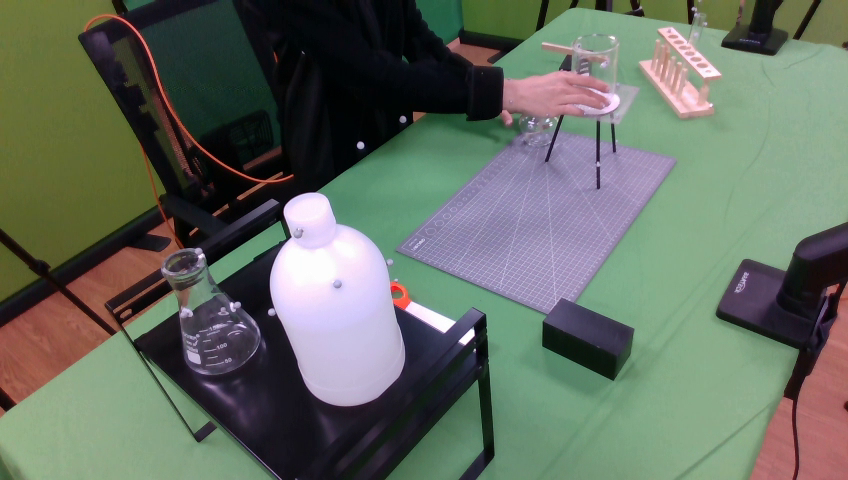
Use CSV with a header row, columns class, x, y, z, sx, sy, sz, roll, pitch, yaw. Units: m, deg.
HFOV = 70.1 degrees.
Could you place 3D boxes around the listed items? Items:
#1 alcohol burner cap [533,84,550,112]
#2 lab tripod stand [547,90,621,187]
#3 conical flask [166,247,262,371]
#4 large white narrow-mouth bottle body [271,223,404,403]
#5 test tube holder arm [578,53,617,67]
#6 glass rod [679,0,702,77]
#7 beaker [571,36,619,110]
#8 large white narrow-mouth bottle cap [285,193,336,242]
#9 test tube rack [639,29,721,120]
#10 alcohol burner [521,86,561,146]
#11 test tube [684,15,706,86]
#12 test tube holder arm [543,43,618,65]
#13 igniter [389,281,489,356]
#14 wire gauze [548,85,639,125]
class,x,y,z,sx,sy,sz,roll,pitch,yaw
alcohol burner cap,0.218,-0.268,1.132,0.034,0.048,0.033,-9,36,7
lab tripod stand,0.289,-0.184,1.062,0.148,0.132,0.147,-6,41,6
conical flask,-0.208,0.064,0.584,0.075,0.122,0.075,-5,40,4
large white narrow-mouth bottle body,-0.077,0.048,0.525,0.102,0.195,0.101,-5,40,5
test tube holder arm,0.376,-0.393,1.314,0.087,0.015,0.010,26,51,32
glass rod,0.543,-0.417,1.233,0.008,0.200,0.008,1,40,0
beaker,0.281,-0.273,0.992,0.084,0.101,0.073,-24,42,-16
large white narrow-mouth bottle cap,-0.087,-0.018,0.467,0.038,0.024,0.037,-5,40,4
test tube rack,0.527,-0.351,1.262,0.067,0.085,0.241,-8,40,1
alcohol burner,0.224,-0.242,1.155,0.078,0.119,0.077,-5,43,5
test tube,0.541,-0.378,1.215,0.017,0.151,0.017,-2,44,3
test tube holder arm,0.345,-0.413,1.341,0.177,0.015,0.013,25,50,31
igniter,-0.029,0.095,0.871,0.274,0.025,0.057,22,59,31
wire gauze,0.286,-0.233,1.020,0.124,0.011,0.122,15,43,29
